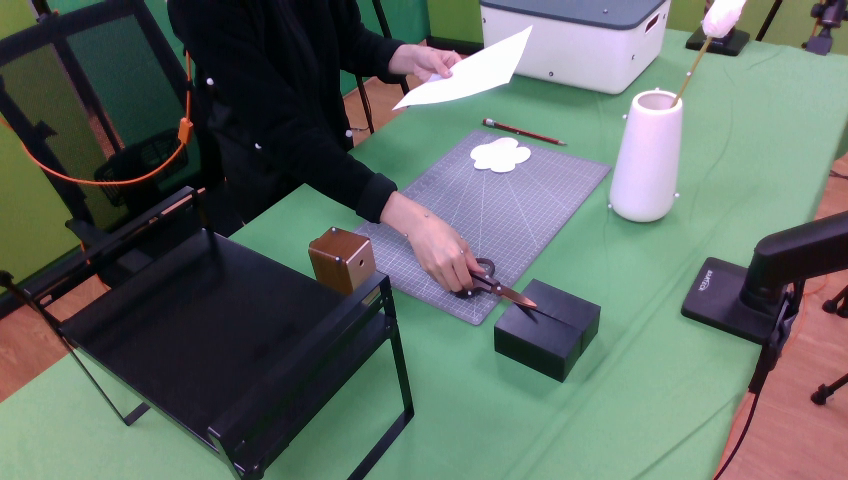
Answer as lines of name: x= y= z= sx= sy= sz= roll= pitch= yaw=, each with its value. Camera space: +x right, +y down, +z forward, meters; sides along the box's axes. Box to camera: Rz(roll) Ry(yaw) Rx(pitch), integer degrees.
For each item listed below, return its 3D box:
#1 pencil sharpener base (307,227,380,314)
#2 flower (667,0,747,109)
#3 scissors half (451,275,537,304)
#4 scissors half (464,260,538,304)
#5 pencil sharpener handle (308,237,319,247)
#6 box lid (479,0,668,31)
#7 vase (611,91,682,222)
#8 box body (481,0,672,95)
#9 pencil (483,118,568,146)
pencil sharpener base: x=-0.116 y=0.043 z=0.875 sx=0.076 sy=0.107 sz=0.061 roll=18 pitch=47 yaw=28
flower: x=0.354 y=-0.187 z=0.879 sx=0.038 sy=0.362 sz=0.044 roll=30 pitch=48 yaw=14
scissors half: x=0.093 y=0.073 z=0.837 sx=0.040 sy=0.013 sz=0.174 roll=-48 pitch=28 yaw=-24
scissors half: x=0.107 y=0.059 z=0.843 sx=0.040 sy=0.013 sz=0.174 roll=-45 pitch=28 yaw=-6
pencil sharpener handle: x=-0.158 y=0.018 z=0.892 sx=0.030 sy=0.068 sz=0.036 roll=18 pitch=60 yaw=28
box lid: x=0.335 y=-0.536 z=1.331 sx=0.368 sy=0.015 sz=0.264 roll=23 pitch=49 yaw=30
vase: x=0.348 y=-0.125 z=0.935 sx=0.098 sy=0.201 sz=0.097 roll=-3 pitch=40 yaw=3
box body: x=0.341 y=-0.480 z=1.381 sx=0.361 sy=0.161 sz=0.255 roll=22 pitch=48 yaw=30
pencil: x=0.201 y=-0.216 z=1.211 sx=0.192 sy=0.012 sz=0.012 roll=24 pitch=49 yaw=29
